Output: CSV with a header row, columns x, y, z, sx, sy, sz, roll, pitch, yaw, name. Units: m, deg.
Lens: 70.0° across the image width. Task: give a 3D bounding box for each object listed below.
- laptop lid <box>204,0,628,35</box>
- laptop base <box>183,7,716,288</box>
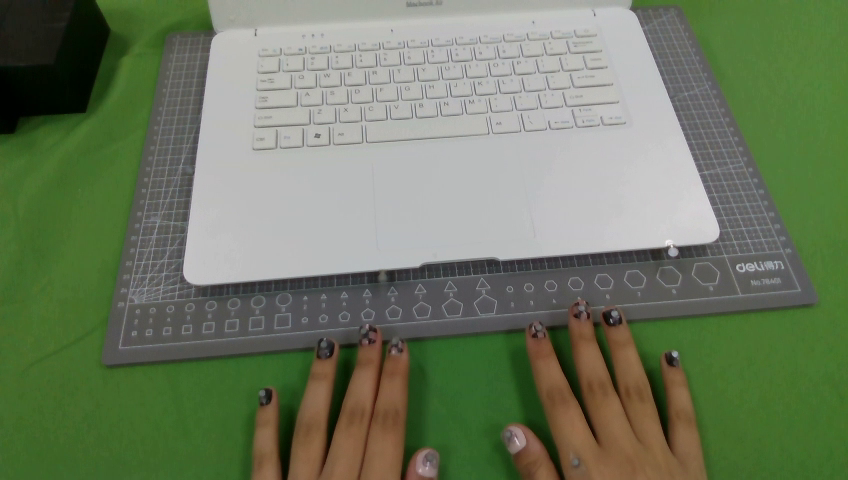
x,y,z,sx,sy,sz,roll,pitch,yaw,name
-0.006,-0.281,0.456,0.357,0.243,0.013,-6,30,-3,laptop lid
0.011,-0.081,0.455,0.355,0.023,0.233,-5,62,-3,laptop base
